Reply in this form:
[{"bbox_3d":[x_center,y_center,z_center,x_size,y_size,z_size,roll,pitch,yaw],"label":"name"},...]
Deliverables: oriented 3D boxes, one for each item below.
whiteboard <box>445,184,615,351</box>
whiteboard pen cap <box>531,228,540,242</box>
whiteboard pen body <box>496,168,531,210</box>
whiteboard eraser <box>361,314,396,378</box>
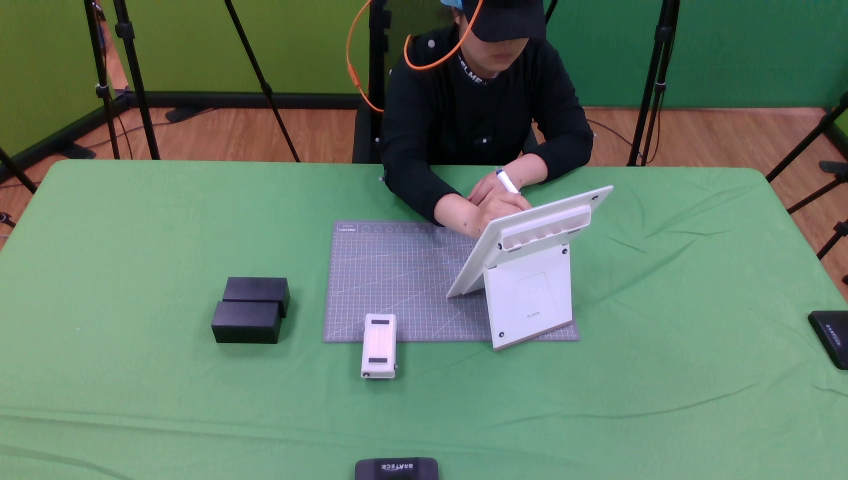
[{"bbox_3d":[0.187,0.066,0.989,0.217,0.306,0.143,-15,68,-18],"label":"whiteboard"},{"bbox_3d":[0.225,-0.011,1.221,0.018,0.018,0.033,12,29,8],"label":"whiteboard pen cap"},{"bbox_3d":[0.166,-0.064,1.031,0.017,0.017,0.140,-27,77,-26],"label":"whiteboard pen body"},{"bbox_3d":[-0.074,0.176,1.006,0.055,0.042,0.112,2,49,-4],"label":"whiteboard eraser"}]
